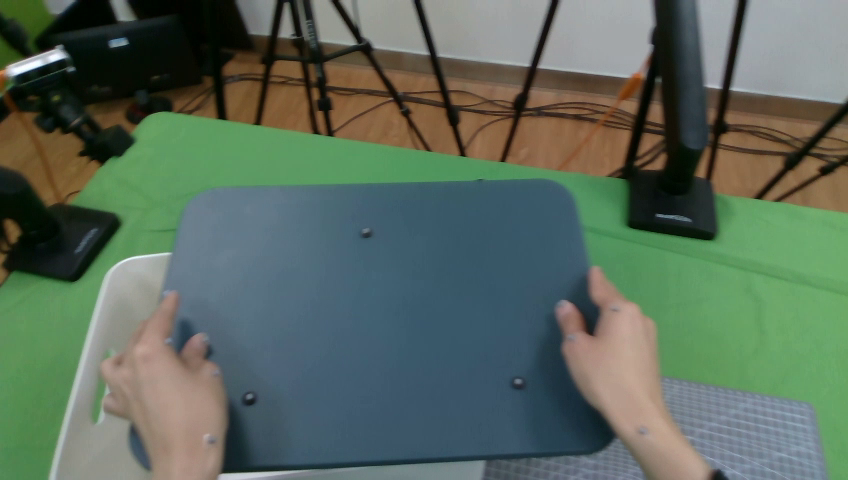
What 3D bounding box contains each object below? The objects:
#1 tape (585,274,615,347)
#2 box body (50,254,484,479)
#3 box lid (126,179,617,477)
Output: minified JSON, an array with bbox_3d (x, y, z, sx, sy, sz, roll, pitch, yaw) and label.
[{"bbox_3d":[0.168,0.092,0.734,0.117,0.053,0.115,0,47,0],"label":"tape"},{"bbox_3d":[-0.128,0.145,0.620,0.364,0.162,0.251,-6,49,-3],"label":"box body"},{"bbox_3d":[-0.038,0.056,0.512,0.372,0.015,0.260,-2,56,-4],"label":"box lid"}]
